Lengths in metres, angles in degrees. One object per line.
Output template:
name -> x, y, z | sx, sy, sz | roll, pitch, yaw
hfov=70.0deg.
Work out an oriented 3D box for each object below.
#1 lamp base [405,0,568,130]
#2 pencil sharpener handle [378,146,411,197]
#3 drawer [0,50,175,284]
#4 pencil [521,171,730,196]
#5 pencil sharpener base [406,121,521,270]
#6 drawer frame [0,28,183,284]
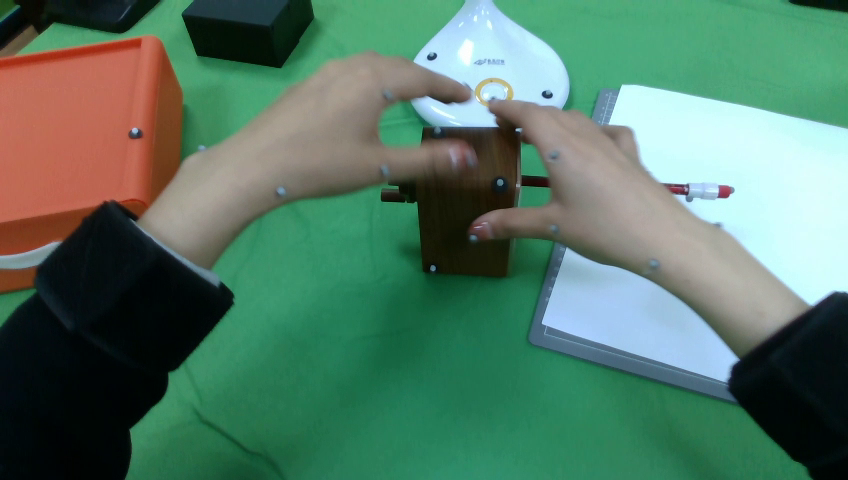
lamp base -> 0.056, -0.219, 0.546 | 0.161, 0.182, 0.177 | -11, 50, -6
pencil sharpener handle -> -0.022, -0.045, 0.445 | 0.030, 0.068, 0.036 | 1, 77, 4
drawer -> -0.314, -0.070, 0.507 | 0.195, 0.074, 0.209 | -11, 53, -5
pencil -> 0.113, -0.042, 0.422 | 0.194, 0.012, 0.012 | 4, 52, 2
pencil sharpener base -> 0.029, -0.030, 0.449 | 0.076, 0.108, 0.061 | 1, 52, 4
drawer frame -> -0.316, -0.072, 0.508 | 0.202, 0.083, 0.211 | -12, 52, -6
